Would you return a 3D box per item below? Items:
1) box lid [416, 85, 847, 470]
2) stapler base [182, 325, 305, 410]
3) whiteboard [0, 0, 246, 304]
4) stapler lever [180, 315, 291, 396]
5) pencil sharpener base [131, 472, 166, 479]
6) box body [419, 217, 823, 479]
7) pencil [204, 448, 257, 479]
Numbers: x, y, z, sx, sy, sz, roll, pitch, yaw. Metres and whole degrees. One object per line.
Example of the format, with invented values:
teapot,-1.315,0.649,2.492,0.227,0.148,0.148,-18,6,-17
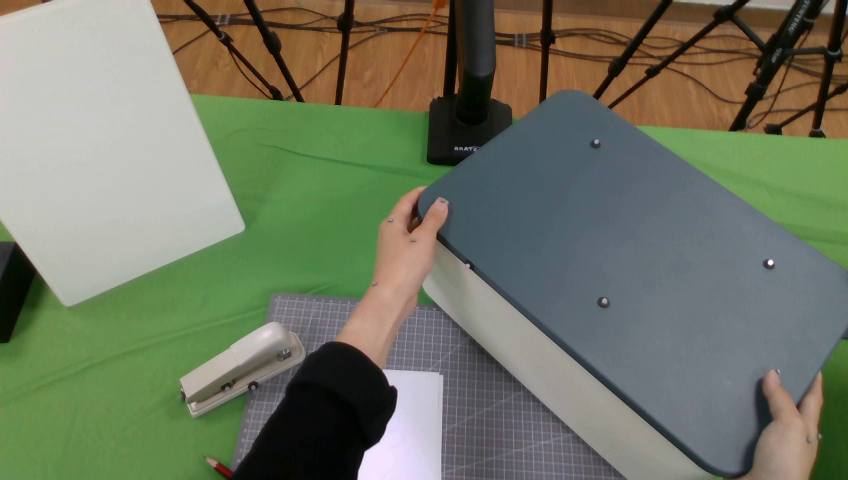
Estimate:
box lid,0.199,0.002,0.580,0.263,0.015,0.369,-39,68,-25
stapler base,-0.193,0.129,0.644,0.130,0.024,0.041,-27,58,-16
whiteboard,-0.366,-0.123,0.666,0.217,0.308,0.142,-26,43,-18
stapler lever,-0.194,0.117,0.623,0.118,0.040,0.026,-27,58,-16
pencil sharpener base,-0.246,0.250,0.516,0.077,0.108,0.061,-17,60,-13
box body,0.196,0.044,0.642,0.361,0.161,0.254,41,63,21
pencil,-0.136,0.250,0.578,0.193,0.012,0.012,27,60,15
